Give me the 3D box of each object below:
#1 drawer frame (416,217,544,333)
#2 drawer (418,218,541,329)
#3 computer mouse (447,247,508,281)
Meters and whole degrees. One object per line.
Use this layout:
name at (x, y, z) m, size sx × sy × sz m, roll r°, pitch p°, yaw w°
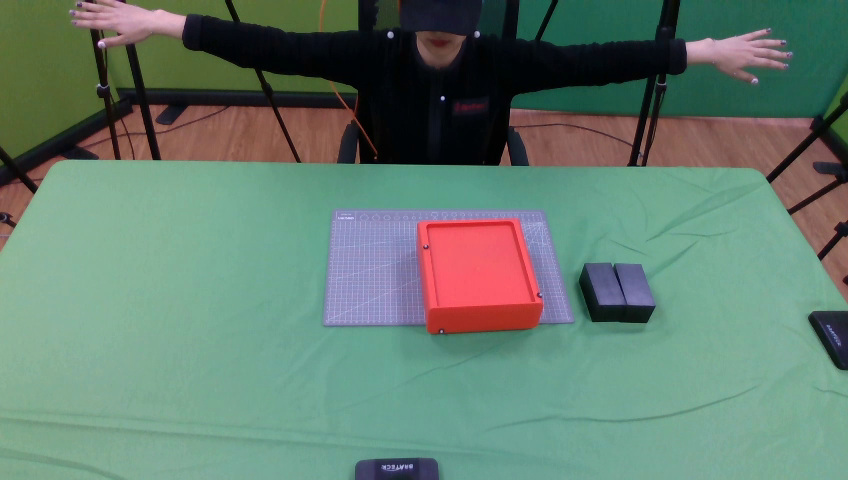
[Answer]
drawer frame at (0.094, 0.058, 1.104) m, size 0.202 × 0.083 × 0.212 m, roll -2°, pitch 47°, yaw -7°
drawer at (0.094, 0.057, 1.107) m, size 0.195 × 0.073 × 0.210 m, roll -1°, pitch 47°, yaw -6°
computer mouse at (0.101, 0.046, 1.135) m, size 0.117 × 0.041 × 0.062 m, roll 4°, pitch 43°, yaw -9°
